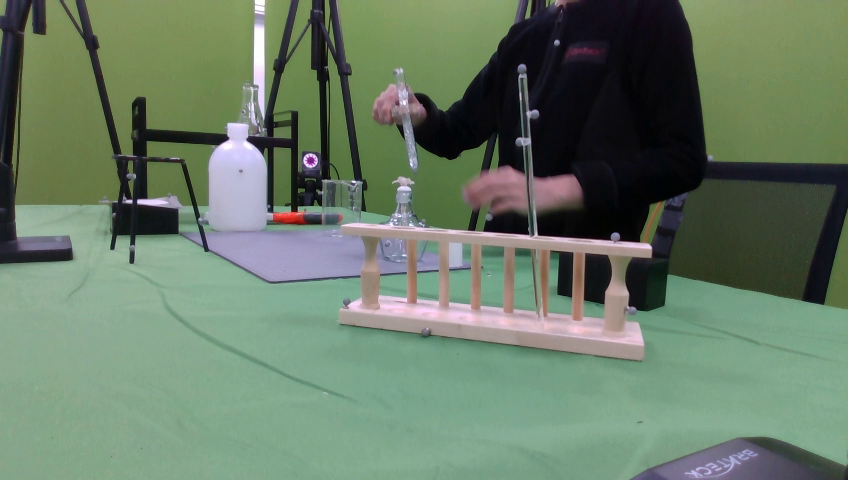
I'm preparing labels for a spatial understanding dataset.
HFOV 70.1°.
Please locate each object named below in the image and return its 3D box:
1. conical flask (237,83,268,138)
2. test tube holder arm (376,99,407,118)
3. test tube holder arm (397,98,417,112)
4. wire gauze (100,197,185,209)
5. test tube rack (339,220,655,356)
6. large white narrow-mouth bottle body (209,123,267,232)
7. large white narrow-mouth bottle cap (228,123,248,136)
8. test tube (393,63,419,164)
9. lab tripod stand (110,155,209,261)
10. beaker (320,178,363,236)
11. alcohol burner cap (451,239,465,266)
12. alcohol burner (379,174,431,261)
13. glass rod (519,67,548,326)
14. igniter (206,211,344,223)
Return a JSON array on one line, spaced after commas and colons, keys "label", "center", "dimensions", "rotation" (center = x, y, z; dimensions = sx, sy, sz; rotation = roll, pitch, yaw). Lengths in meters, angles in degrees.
[{"label": "conical flask", "center": [-0.402, -0.299, 1.406], "dimensions": [0.075, 0.122, 0.075], "rotation": [2, 7, 0]}, {"label": "test tube holder arm", "center": [-0.054, -0.208, 0.958], "dimensions": [0.013, 0.015, 0.178], "rotation": [-8, 9, -17]}, {"label": "test tube holder arm", "center": [-0.033, -0.204, 0.919], "dimensions": [0.010, 0.015, 0.087], "rotation": [-10, 9, -25]}, {"label": "wire gauze", "center": [-0.469, -0.062, 1.008], "dimensions": [0.126, 0.011, 0.121], "rotation": [-2, 8, -25]}, {"label": "test tube rack", "center": [0.056, 0.032, 0.495], "dimensions": [0.242, 0.085, 0.067], "rotation": [4, 7, 15]}, {"label": "large white narrow-mouth bottle body", "center": [-0.340, -0.115, 1.109], "dimensions": [0.102, 0.194, 0.102], "rotation": [2, 8, 0]}, {"label": "large white narrow-mouth bottle cap", "center": [-0.338, -0.200, 1.097], "dimensions": [0.038, 0.024, 0.037], "rotation": [2, 8, 0]}, {"label": "test tube", "center": [-0.026, -0.187, 0.897], "dimensions": [0.017, 0.150, 0.017], "rotation": [-10, 4, 1]}, {"label": "lab tripod stand", "center": [-0.361, -0.046, 0.806], "dimensions": [0.148, 0.131, 0.148], "rotation": [2, 5, 0]}, {"label": "beaker", "center": [-0.145, -0.059, 1.079], "dimensions": [0.074, 0.100, 0.083], "rotation": [-4, 10, -36]}, {"label": "alcohol burner cap", "center": [0.041, 0.010, 0.815], "dimensions": [0.034, 0.048, 0.034], "rotation": [3, 8, 0]}, {"label": "alcohol burner", "center": [-0.027, -0.031, 0.838], "dimensions": [0.078, 0.119, 0.078], "rotation": [0, 6, 0]}, {"label": "glass rod", "center": [0.084, -0.029, 0.459], "dimensions": [0.008, 0.199, 0.008], "rotation": [-6, 11, 2]}, {"label": "igniter", "center": [-0.302, -0.048, 1.249], "dimensions": [0.278, 0.025, 0.057], "rotation": [-2, -2, -26]}]
